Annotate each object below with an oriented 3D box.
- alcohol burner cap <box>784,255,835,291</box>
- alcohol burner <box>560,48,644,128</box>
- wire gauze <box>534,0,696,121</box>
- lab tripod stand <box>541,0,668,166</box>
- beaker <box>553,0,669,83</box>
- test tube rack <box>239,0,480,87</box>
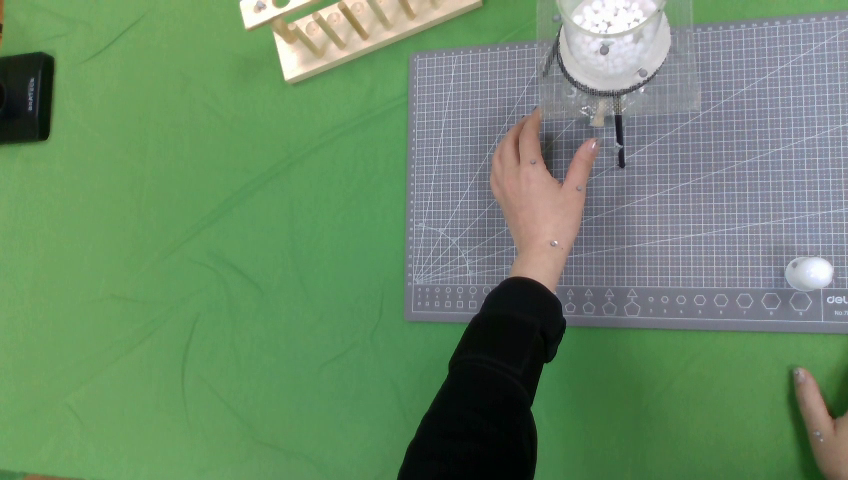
[{"bbox_3d":[0.343,0.028,0.536,0.034,0.048,0.034,-2,84,15],"label":"alcohol burner cap"},{"bbox_3d":[0.166,-0.147,0.565,0.077,0.119,0.077,-1,84,14],"label":"alcohol burner"},{"bbox_3d":[0.153,-0.158,0.491,0.125,0.011,0.121,-1,88,13],"label":"wire gauze"},{"bbox_3d":[0.171,-0.151,0.554,0.148,0.132,0.148,-1,86,14],"label":"lab tripod stand"},{"bbox_3d":[0.134,-0.164,0.446,0.083,0.101,0.074,13,89,17],"label":"beaker"},{"bbox_3d":[-0.069,-0.253,0.660,0.242,0.085,0.066,-18,80,14],"label":"test tube rack"}]
